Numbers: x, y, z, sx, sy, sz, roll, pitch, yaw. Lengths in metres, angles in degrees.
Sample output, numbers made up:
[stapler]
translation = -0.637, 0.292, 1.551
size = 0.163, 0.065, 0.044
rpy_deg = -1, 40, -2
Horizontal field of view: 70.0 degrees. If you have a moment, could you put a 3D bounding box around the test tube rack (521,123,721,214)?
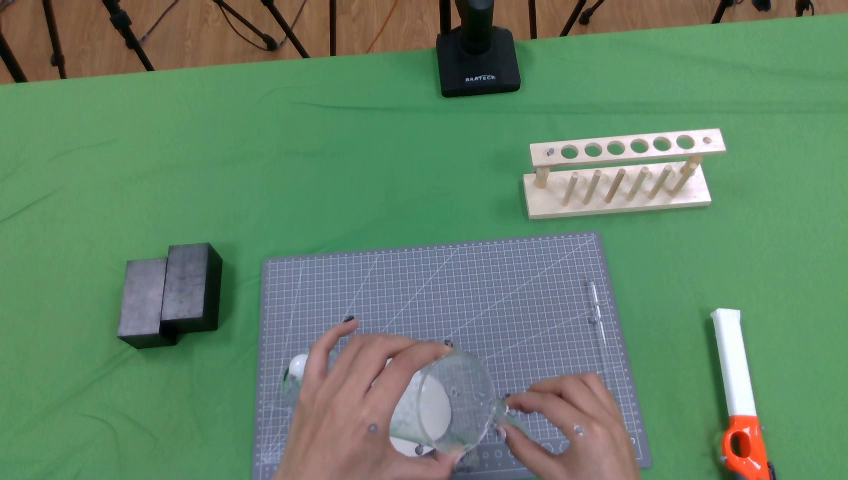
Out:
[test tube rack]
translation = 0.256, -0.092, 0.798
size = 0.242, 0.086, 0.066
rpy_deg = -5, 64, 0

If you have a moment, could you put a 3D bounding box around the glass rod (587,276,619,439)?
[glass rod]
translation = 0.216, 0.137, 0.731
size = 0.008, 0.008, 0.198
rpy_deg = -4, 68, 0

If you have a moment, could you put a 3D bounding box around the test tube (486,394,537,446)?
[test tube]
translation = 0.080, 0.162, 0.535
size = 0.017, 0.152, 0.017
rpy_deg = -10, 59, 17

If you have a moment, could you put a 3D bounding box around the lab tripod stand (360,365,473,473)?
[lab tripod stand]
translation = -0.017, 0.190, 0.645
size = 0.148, 0.132, 0.147
rpy_deg = -1, 64, 3

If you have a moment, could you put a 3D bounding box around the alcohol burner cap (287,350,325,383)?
[alcohol burner cap]
translation = -0.128, 0.134, 0.646
size = 0.034, 0.048, 0.033
rpy_deg = -2, 69, 7

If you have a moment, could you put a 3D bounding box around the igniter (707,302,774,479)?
[igniter]
translation = 0.358, 0.204, 0.688
size = 0.057, 0.025, 0.274
rpy_deg = 6, 65, -6

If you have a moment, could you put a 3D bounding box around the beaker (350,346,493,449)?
[beaker]
translation = -0.005, 0.121, 0.483
size = 0.085, 0.100, 0.073
rpy_deg = 18, 74, -35

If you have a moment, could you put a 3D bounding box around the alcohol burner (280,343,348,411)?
[alcohol burner]
translation = -0.126, 0.148, 0.679
size = 0.078, 0.120, 0.077
rpy_deg = -1, 62, 2

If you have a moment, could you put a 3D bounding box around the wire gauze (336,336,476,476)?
[wire gauze]
translation = -0.020, 0.157, 0.586
size = 0.125, 0.011, 0.120
rpy_deg = -8, 63, -2
